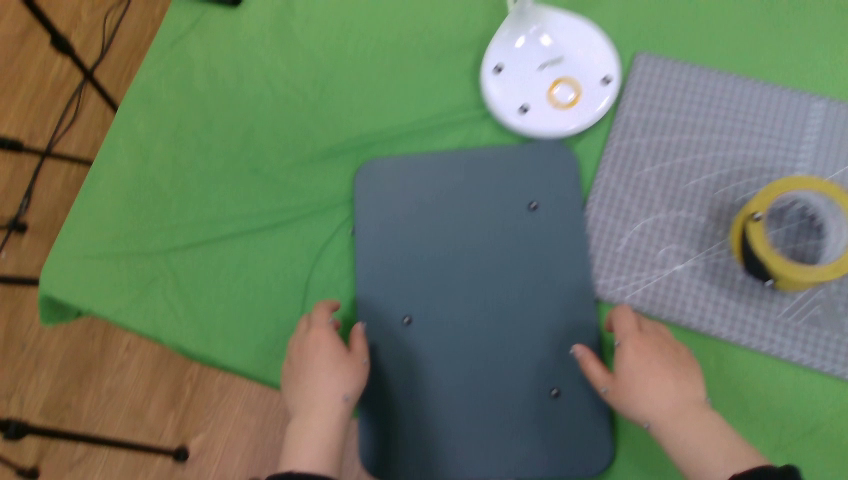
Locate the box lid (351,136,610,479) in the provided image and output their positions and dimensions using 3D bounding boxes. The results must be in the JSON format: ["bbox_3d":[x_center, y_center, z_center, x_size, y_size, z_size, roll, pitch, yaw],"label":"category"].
[{"bbox_3d":[0.051,0.065,0.661,0.263,0.015,0.369,-5,76,7],"label":"box lid"}]

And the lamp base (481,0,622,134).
[{"bbox_3d":[0.129,-0.227,0.632,0.160,0.181,0.178,-31,71,0],"label":"lamp base"}]

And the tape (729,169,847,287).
[{"bbox_3d":[0.373,-0.011,0.610,0.117,0.053,0.116,-2,76,7],"label":"tape"}]
